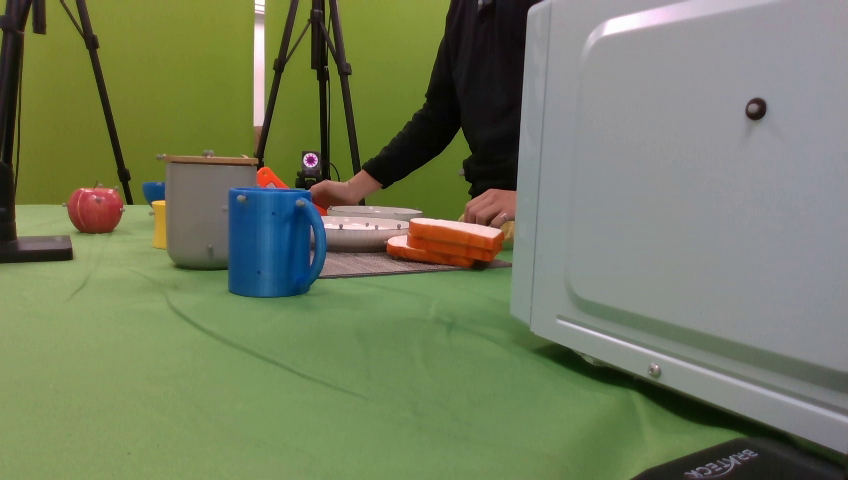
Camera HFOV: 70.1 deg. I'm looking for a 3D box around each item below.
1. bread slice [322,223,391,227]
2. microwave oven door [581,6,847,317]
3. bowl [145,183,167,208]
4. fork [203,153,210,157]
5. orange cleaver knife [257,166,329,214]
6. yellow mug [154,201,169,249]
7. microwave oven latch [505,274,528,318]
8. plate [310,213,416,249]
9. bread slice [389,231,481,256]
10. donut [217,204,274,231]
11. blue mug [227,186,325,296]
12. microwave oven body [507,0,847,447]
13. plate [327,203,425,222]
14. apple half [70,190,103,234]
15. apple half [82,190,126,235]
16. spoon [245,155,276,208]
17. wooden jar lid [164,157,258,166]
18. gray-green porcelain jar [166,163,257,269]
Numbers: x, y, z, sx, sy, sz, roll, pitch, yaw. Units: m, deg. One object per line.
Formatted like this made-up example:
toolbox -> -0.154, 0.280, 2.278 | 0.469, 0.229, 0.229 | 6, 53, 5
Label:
bread slice -> -0.116, -0.014, 0.975 | 0.135, 0.018, 0.106 | -6, 11, -42
microwave oven door -> 0.295, -0.067, 0.569 | 0.358, 0.243, 0.039 | -3, 8, -31
bowl -> -0.459, -0.068, 1.175 | 0.151, 0.077, 0.151 | 3, 7, 0
fork -> -0.480, -0.135, 1.411 | 0.028, 0.018, 0.207 | 1, -34, -1
orange cleaver knife -> -0.293, -0.086, 1.330 | 0.012, 0.077, 0.212 | 11, -17, 49
yellow mug -> -0.337, -0.022, 0.899 | 0.130, 0.064, 0.100 | 8, 9, 34
microwave oven latch -> 0.100, 0.041, 0.471 | 0.079, 0.029, 0.030 | -1, 8, -28
plate -> -0.117, -0.014, 0.967 | 0.208, 0.039, 0.207 | 2, 7, 0
bread slice -> 0.016, 0.005, 0.866 | 0.131, 0.019, 0.105 | 4, 8, 7
donut -> -0.318, -0.038, 1.081 | 0.099, 0.048, 0.099 | 2, 7, 0
blue mug -> -0.146, 0.000, 0.618 | 0.116, 0.106, 0.083 | 7, 9, 32
microwave oven body -> 0.331, -0.042, 0.425 | 0.444, 0.260, 0.324 | -2, 8, -31
plate -> -0.102, -0.053, 1.299 | 0.209, 0.038, 0.209 | 2, 8, 0
apple half -> -0.552, -0.047, 1.009 | 0.053, 0.074, 0.081 | -1, 9, 26
apple half -> -0.516, -0.046, 0.994 | 0.032, 0.081, 0.081 | 0, 6, 26
spoon -> -0.421, -0.150, 1.540 | 0.042, 0.021, 0.193 | -5, 55, -37
wooden jar lid -> -0.261, -0.093, 0.746 | 0.108, 0.020, 0.108 | 1, 9, 0
gray-green porcelain jar -> -0.263, -0.031, 0.754 | 0.106, 0.126, 0.106 | 2, 7, 0
